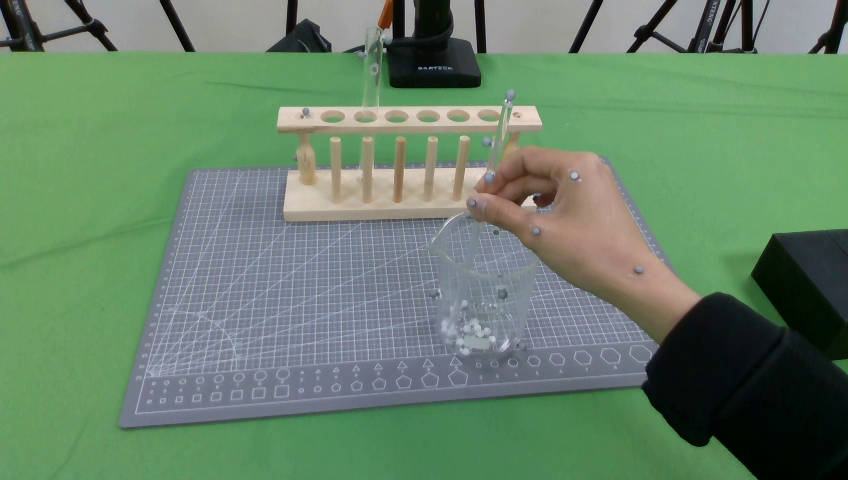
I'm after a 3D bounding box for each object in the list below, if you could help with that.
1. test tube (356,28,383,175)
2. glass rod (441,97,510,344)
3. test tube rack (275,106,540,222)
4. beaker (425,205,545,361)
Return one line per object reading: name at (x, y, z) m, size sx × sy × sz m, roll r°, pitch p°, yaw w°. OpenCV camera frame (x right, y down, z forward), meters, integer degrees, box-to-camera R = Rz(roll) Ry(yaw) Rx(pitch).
test tube at (-0.051, -0.119, 0.551) m, size 0.017 × 0.151 × 0.017 m, roll 5°, pitch 44°, yaw -5°
glass rod at (0.032, -0.002, 0.415) m, size 0.008 × 0.201 × 0.008 m, roll 8°, pitch 34°, yaw -5°
test tube rack at (-0.014, -0.074, 0.578) m, size 0.243 × 0.086 × 0.066 m, roll -2°, pitch 43°, yaw -6°
beaker at (0.041, 0.036, 0.452) m, size 0.084 × 0.101 × 0.073 m, roll -1°, pitch 42°, yaw -3°
